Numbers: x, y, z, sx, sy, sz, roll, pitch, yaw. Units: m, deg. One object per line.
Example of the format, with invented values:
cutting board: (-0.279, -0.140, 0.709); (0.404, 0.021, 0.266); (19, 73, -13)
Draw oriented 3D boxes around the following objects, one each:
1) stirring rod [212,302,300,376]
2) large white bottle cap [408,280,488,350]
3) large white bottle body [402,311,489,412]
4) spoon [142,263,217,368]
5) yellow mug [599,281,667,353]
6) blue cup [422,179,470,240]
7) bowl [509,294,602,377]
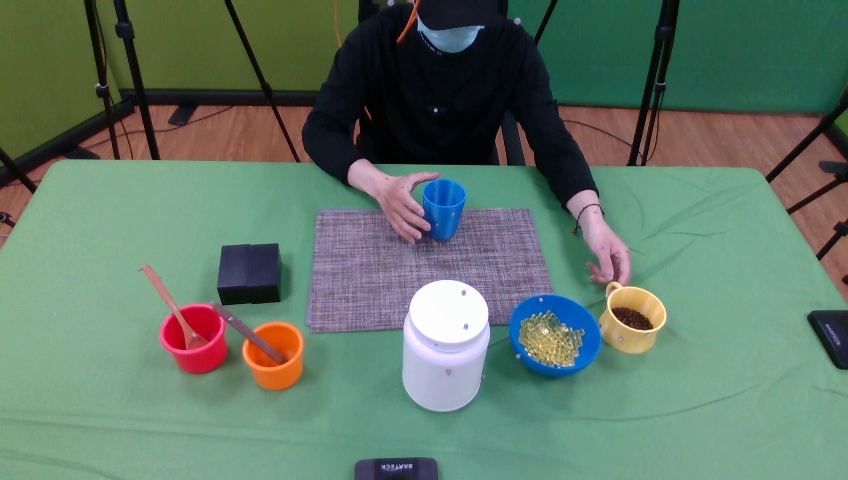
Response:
stirring rod: (-0.261, 0.156, 0.948); (0.177, 0.006, 0.014); (45, 45, -20)
large white bottle cap: (0.034, 0.105, 0.866); (0.115, 0.018, 0.114); (2, 46, -1)
large white bottle body: (0.031, 0.163, 0.928); (0.131, 0.185, 0.130); (2, 46, -2)
spoon: (-0.392, 0.120, 0.968); (0.041, 0.021, 0.194); (-33, 100, -30)
yellow mug: (0.359, 0.127, 1.069); (0.100, 0.064, 0.130); (-12, 47, -14)
blue cup: (0.036, -0.055, 1.192); (0.093, 0.101, 0.092); (2, 45, -2)
bowl: (0.211, 0.172, 1.007); (0.151, 0.077, 0.150); (2, 46, -2)
